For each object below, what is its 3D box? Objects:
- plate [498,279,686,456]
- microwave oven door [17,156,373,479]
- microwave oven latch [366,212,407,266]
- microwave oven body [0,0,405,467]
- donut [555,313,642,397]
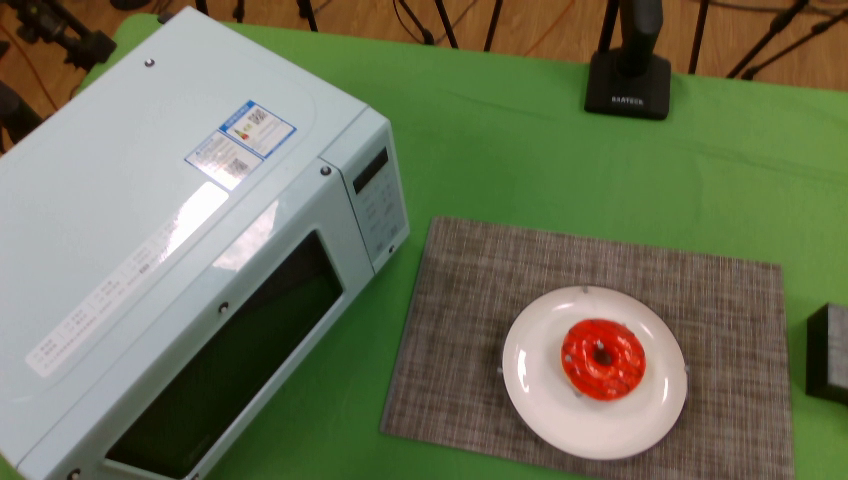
[{"bbox_3d":[0.191,0.146,0.704,0.209,0.038,0.207,-1,62,3],"label":"plate"},{"bbox_3d":[-0.192,0.105,0.621,0.039,0.246,0.355,32,69,19],"label":"microwave oven door"},{"bbox_3d":[-0.053,-0.006,0.785,0.030,0.030,0.079,32,70,18],"label":"microwave oven latch"},{"bbox_3d":[-0.284,0.004,0.686,0.324,0.262,0.440,32,70,18],"label":"microwave oven body"},{"bbox_3d":[0.201,0.131,0.698,0.099,0.048,0.098,0,64,1],"label":"donut"}]
